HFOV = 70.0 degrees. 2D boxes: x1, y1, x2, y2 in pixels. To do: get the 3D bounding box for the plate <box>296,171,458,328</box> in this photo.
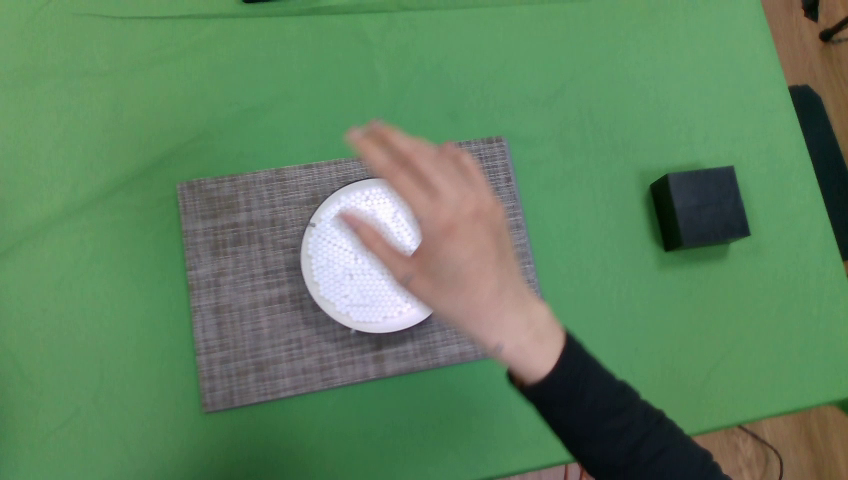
[{"bbox_3d":[-0.060,0.013,0.794,0.209,0.038,0.208,1,78,-6],"label":"plate"}]
